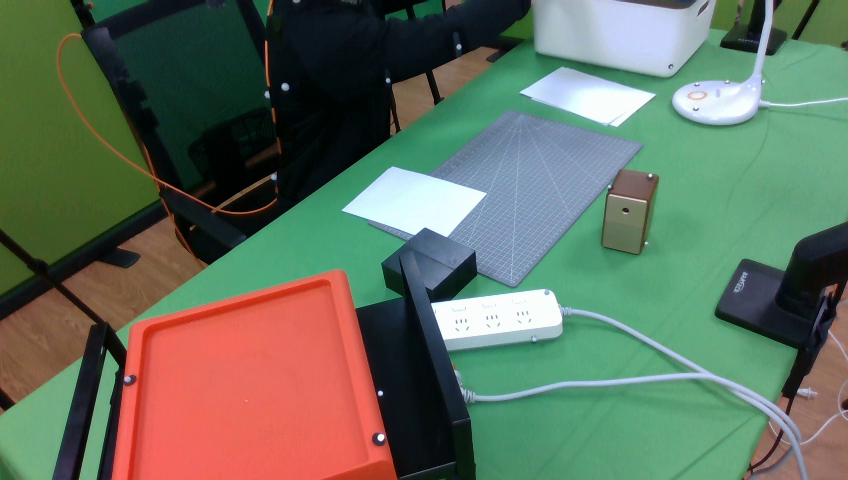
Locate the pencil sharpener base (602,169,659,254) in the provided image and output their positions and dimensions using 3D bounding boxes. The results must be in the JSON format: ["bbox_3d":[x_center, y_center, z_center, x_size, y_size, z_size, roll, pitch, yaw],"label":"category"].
[{"bbox_3d":[0.312,-0.044,0.913,0.061,0.107,0.077,14,45,24],"label":"pencil sharpener base"}]

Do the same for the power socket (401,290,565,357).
[{"bbox_3d":[0.080,0.113,0.821,0.227,0.033,0.072,-6,41,0],"label":"power socket"}]

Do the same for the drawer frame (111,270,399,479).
[{"bbox_3d":[-0.140,0.140,0.506,0.202,0.083,0.212,-15,41,-9],"label":"drawer frame"}]

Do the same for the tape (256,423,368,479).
[{"bbox_3d":[-0.121,0.262,0.660,0.117,0.053,0.116,-4,40,4],"label":"tape"}]

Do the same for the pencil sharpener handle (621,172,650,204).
[{"bbox_3d":[0.328,-0.086,0.940,0.036,0.068,0.030,30,49,8],"label":"pencil sharpener handle"}]

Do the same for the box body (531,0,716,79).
[{"bbox_3d":[0.459,-0.522,1.407,0.361,0.161,0.255,22,49,30],"label":"box body"}]

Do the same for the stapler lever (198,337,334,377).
[{"bbox_3d":[-0.142,0.105,0.541,0.118,0.040,0.026,-3,43,4],"label":"stapler lever"}]

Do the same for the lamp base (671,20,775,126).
[{"bbox_3d":[0.582,-0.332,1.153,0.179,0.181,0.160,2,41,7],"label":"lamp base"}]

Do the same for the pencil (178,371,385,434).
[{"bbox_3d":[-0.128,0.141,0.534,0.194,0.012,0.012,14,44,7],"label":"pencil"}]

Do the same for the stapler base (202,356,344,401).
[{"bbox_3d":[-0.141,0.123,0.557,0.130,0.024,0.041,-2,43,3],"label":"stapler base"}]

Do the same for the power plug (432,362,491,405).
[{"bbox_3d":[0.044,0.182,0.759,0.073,0.035,0.052,23,42,-19],"label":"power plug"}]

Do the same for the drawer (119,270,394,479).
[{"bbox_3d":[-0.141,0.139,0.509,0.195,0.073,0.210,-14,42,-8],"label":"drawer"}]
